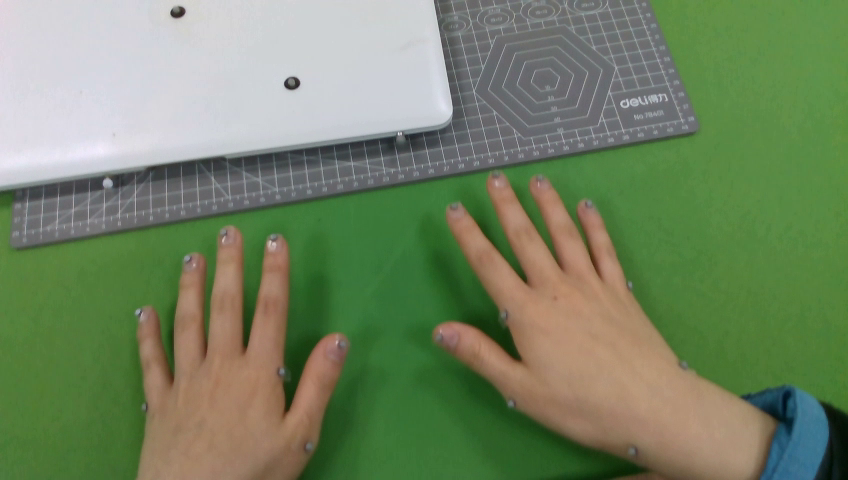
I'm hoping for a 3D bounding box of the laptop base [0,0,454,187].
[{"bbox_3d":[-0.169,-0.157,0.436,0.354,0.023,0.234,-8,72,-1],"label":"laptop base"}]

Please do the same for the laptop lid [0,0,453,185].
[{"bbox_3d":[-0.169,-0.160,0.424,0.357,0.013,0.240,-7,71,-1],"label":"laptop lid"}]
